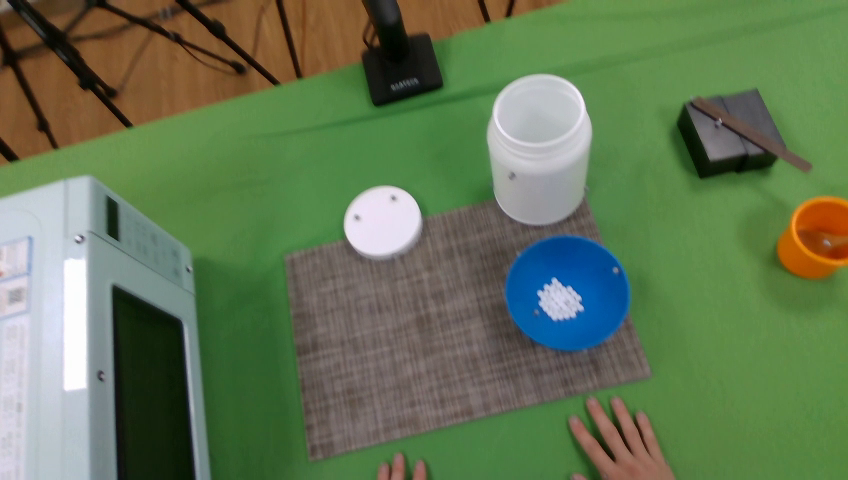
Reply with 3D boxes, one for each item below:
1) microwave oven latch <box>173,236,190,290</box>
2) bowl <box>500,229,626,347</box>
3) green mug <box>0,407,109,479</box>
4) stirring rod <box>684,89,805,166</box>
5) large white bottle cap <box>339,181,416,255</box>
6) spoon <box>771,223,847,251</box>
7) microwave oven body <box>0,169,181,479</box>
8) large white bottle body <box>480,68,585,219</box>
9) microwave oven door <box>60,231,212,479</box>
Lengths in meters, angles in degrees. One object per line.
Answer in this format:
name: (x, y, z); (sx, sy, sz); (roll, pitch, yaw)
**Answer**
microwave oven latch: (-0.362, 0.036, 0.879); (0.030, 0.030, 0.078); (-16, 67, 2)
bowl: (0.174, 0.069, 0.775); (0.151, 0.077, 0.150); (-3, 68, 8)
green mug: (-0.447, 0.239, 0.730); (0.125, 0.105, 0.092); (-27, 70, -8)
stirring rod: (0.425, -0.152, 0.810); (0.175, 0.006, 0.014); (41, 114, 21)
large white bottle cap: (-0.068, -0.033, 0.888); (0.114, 0.018, 0.114); (-3, 67, 8)
spoon: (0.516, -0.009, 0.719); (0.022, 0.193, 0.041); (36, 68, -25)
microwave oven body: (-0.476, 0.197, 0.727); (0.326, 0.262, 0.438); (-16, 67, 2)
large white bottle body: (0.142, -0.123, 0.799); (0.130, 0.186, 0.129); (-4, 64, 8)
microwave oven door: (-0.326, 0.191, 0.701); (0.039, 0.246, 0.352); (-17, 67, 2)
